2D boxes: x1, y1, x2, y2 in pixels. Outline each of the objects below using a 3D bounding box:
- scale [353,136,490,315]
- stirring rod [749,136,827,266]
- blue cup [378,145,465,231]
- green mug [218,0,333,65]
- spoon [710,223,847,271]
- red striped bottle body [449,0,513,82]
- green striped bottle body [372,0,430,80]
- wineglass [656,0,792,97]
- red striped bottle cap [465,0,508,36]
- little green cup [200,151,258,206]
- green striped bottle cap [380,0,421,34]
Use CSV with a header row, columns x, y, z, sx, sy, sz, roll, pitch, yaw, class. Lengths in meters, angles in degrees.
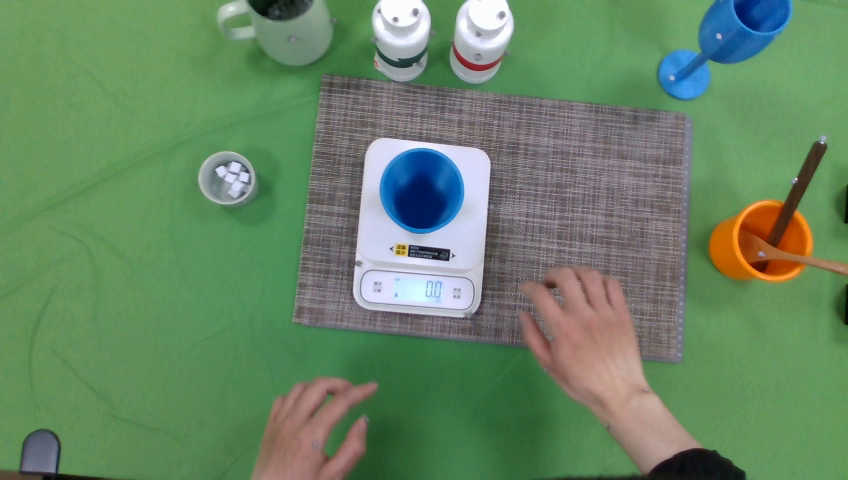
x,y,z,sx,sy,sz,roll,pitch,yaw,class
-0.002,-0.018,0.703,0.149,0.031,0.200,5,84,-2,scale
0.399,-0.037,0.670,0.014,0.177,0.006,12,42,12,stirring rod
-0.004,-0.047,0.641,0.093,0.100,0.092,0,85,-2,blue cup
-0.170,-0.255,0.690,0.125,0.105,0.092,-16,84,-4,green mug
0.413,0.017,0.664,0.022,0.192,0.041,19,90,-44,spoon
0.064,-0.233,0.691,0.063,0.120,0.063,0,82,-3,red striped bottle body
-0.026,-0.234,0.687,0.063,0.119,0.063,0,82,-2,green striped bottle body
0.326,-0.221,0.675,0.074,0.172,0.073,0,83,-2,wineglass
0.066,-0.240,0.639,0.044,0.018,0.044,1,82,-5,red striped bottle cap
-0.221,-0.068,0.699,0.061,0.038,0.061,0,83,-4,little green cup
-0.025,-0.241,0.635,0.044,0.020,0.044,0,83,-3,green striped bottle cap
